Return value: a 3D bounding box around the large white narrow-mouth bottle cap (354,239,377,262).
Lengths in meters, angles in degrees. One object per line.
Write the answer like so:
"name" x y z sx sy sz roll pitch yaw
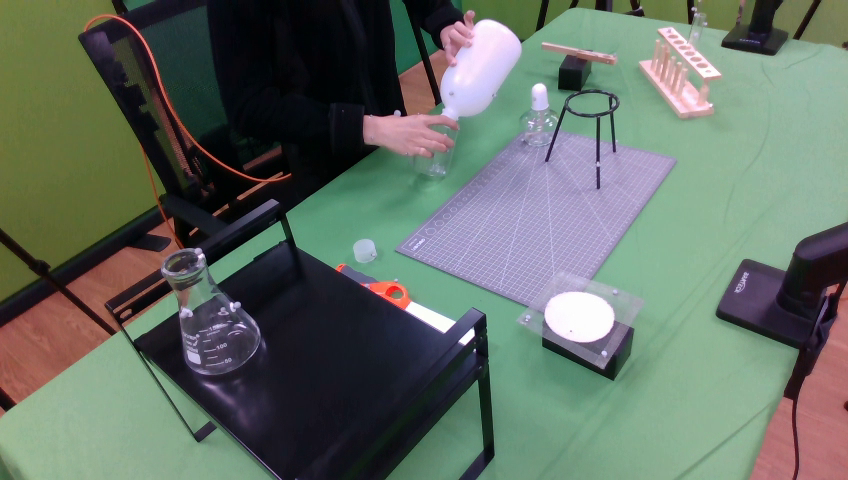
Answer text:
"large white narrow-mouth bottle cap" -0.095 0.017 0.981 0.038 0.024 0.037 -4 40 4

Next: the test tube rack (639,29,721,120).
"test tube rack" 0.527 -0.351 1.262 0.067 0.085 0.241 -8 40 1

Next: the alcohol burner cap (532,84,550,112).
"alcohol burner cap" 0.218 -0.269 1.133 0.034 0.048 0.033 -8 37 7

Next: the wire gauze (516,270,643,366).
"wire gauze" 0.200 0.093 0.777 0.124 0.011 0.122 23 49 32

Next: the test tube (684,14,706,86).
"test tube" 0.540 -0.378 1.215 0.017 0.151 0.017 -2 44 3

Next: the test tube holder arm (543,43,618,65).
"test tube holder arm" 0.344 -0.413 1.340 0.177 0.015 0.013 25 50 31

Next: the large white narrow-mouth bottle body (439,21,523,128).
"large white narrow-mouth bottle body" 0.091 -0.291 1.101 0.101 0.103 0.194 32 88 37

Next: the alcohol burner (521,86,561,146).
"alcohol burner" 0.223 -0.241 1.155 0.078 0.119 0.077 -5 43 5

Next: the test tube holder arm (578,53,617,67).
"test tube holder arm" 0.376 -0.393 1.314 0.087 0.015 0.010 26 51 32

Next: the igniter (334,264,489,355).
"igniter" -0.030 0.095 0.871 0.274 0.025 0.057 22 59 31

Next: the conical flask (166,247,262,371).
"conical flask" -0.208 0.064 0.584 0.075 0.122 0.075 -5 40 4

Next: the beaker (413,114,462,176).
"beaker" 0.025 -0.174 1.113 0.084 0.100 0.073 -1 23 -39

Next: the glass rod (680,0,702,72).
"glass rod" 0.542 -0.417 1.233 0.008 0.200 0.008 1 40 0

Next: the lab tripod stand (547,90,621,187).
"lab tripod stand" 0.289 -0.184 1.062 0.148 0.132 0.147 -6 41 6
